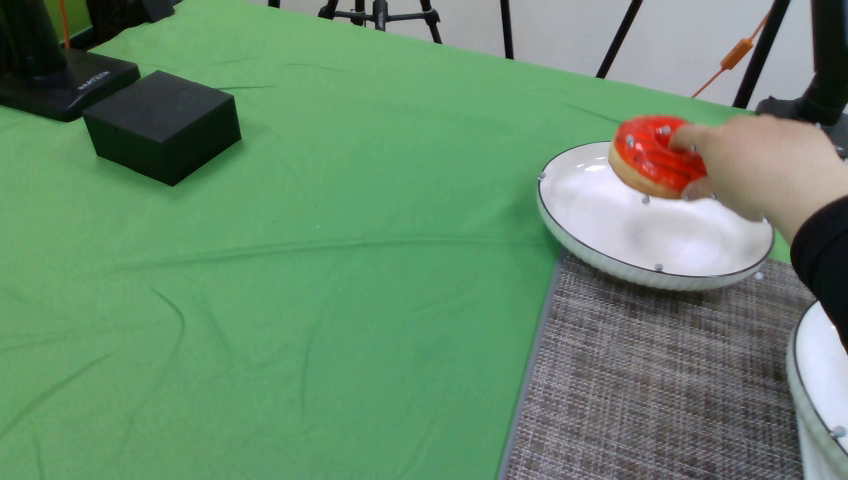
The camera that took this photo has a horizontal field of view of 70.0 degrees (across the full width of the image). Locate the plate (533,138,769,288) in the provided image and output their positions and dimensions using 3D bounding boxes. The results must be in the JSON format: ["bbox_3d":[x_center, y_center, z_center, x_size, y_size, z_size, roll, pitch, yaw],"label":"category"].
[{"bbox_3d":[0.202,-0.026,0.561,0.209,0.038,0.207,3,41,-2],"label":"plate"}]

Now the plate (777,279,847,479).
[{"bbox_3d":[0.327,0.110,0.380,0.208,0.039,0.205,3,43,-3],"label":"plate"}]

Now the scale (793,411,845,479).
[{"bbox_3d":[0.318,0.149,0.386,0.148,0.032,0.199,15,44,11],"label":"scale"}]

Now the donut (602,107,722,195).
[{"bbox_3d":[0.202,-0.075,0.516,0.099,0.048,0.098,4,45,-4],"label":"donut"}]
